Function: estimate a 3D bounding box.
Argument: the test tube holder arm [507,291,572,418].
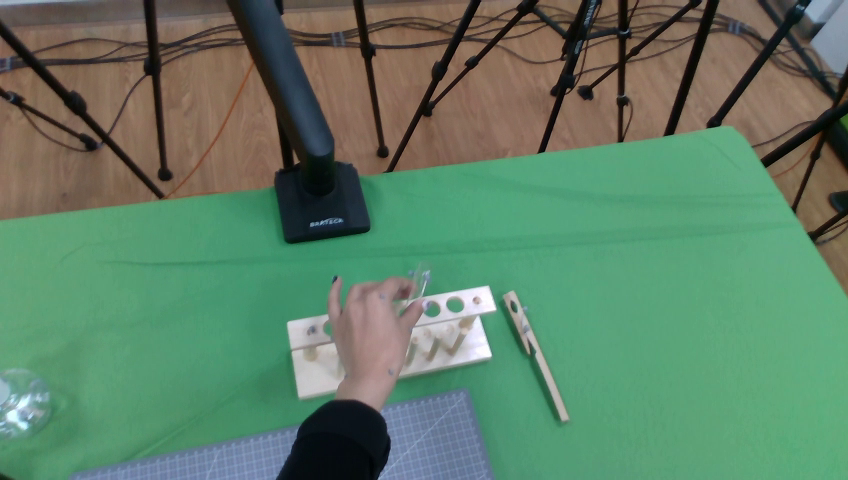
[{"bbox_3d":[0.147,0.145,0.782,0.013,0.015,0.176,-32,63,15],"label":"test tube holder arm"}]

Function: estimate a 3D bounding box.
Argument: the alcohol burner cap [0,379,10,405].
[{"bbox_3d":[-0.434,0.144,0.596,0.034,0.048,0.033,7,51,-8],"label":"alcohol burner cap"}]

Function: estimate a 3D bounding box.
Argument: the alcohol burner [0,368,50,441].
[{"bbox_3d":[-0.439,0.164,0.625,0.078,0.120,0.077,3,57,-4],"label":"alcohol burner"}]

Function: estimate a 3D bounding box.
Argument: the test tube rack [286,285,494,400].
[{"bbox_3d":[-0.036,0.123,0.729,0.243,0.086,0.066,-9,60,-14],"label":"test tube rack"}]

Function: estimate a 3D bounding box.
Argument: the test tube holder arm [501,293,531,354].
[{"bbox_3d":[0.126,0.110,0.803,0.010,0.015,0.087,-31,64,16],"label":"test tube holder arm"}]

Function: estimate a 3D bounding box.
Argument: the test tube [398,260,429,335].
[{"bbox_3d":[-0.014,0.070,0.688,0.017,0.151,0.017,6,54,-8],"label":"test tube"}]
